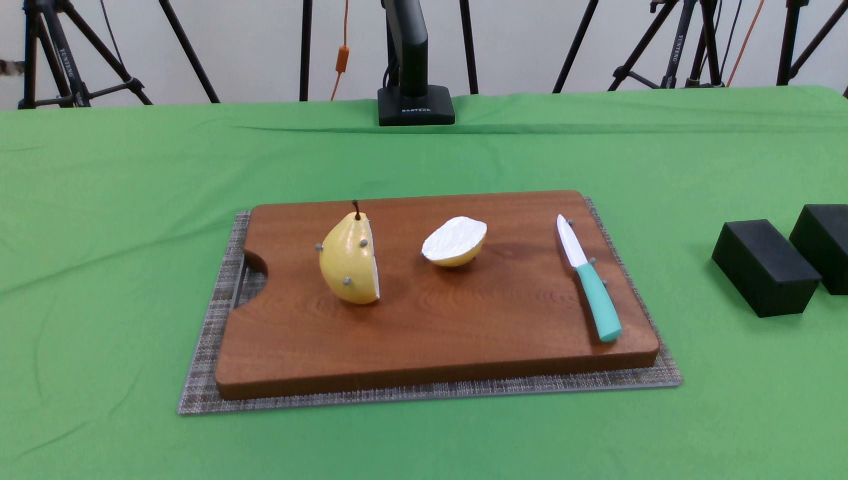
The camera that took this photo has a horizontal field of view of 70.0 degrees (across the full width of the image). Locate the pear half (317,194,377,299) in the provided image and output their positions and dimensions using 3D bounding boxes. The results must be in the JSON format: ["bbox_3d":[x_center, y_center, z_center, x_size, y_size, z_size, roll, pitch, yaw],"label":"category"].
[{"bbox_3d":[-0.075,0.003,0.572,0.056,0.111,0.075,-8,37,-10],"label":"pear half"}]

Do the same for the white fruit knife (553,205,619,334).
[{"bbox_3d":[0.163,0.021,0.626,0.027,0.016,0.205,10,37,-12],"label":"white fruit knife"}]

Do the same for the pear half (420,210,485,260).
[{"bbox_3d":[0.033,-0.001,0.638,0.070,0.031,0.087,-8,24,14],"label":"pear half"}]
